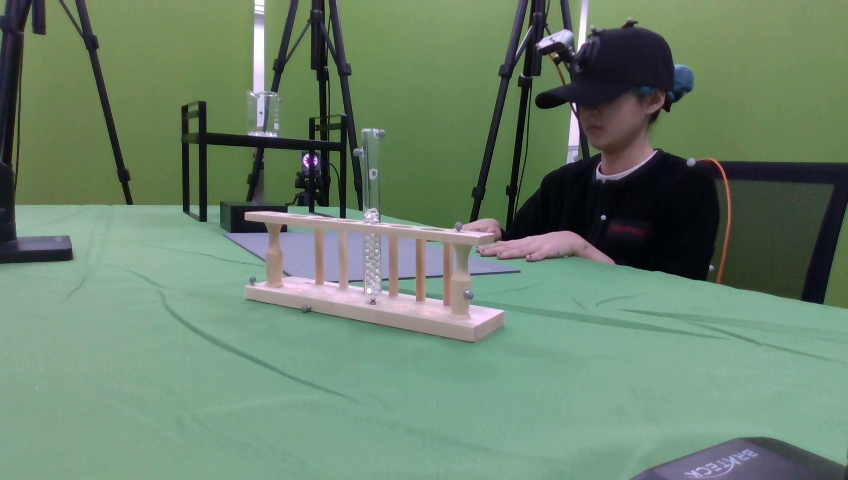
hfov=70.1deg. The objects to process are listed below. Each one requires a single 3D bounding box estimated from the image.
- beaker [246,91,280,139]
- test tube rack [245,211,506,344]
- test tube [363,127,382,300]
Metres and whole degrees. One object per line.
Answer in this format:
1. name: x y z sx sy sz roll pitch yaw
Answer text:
1. beaker: -0.361 -0.279 1.351 0.074 0.100 0.084 3 8 1
2. test tube rack: -0.049 0.025 0.547 0.241 0.085 0.067 7 8 28
3. test tube: -0.044 -0.022 0.524 0.017 0.150 0.017 0 6 0
